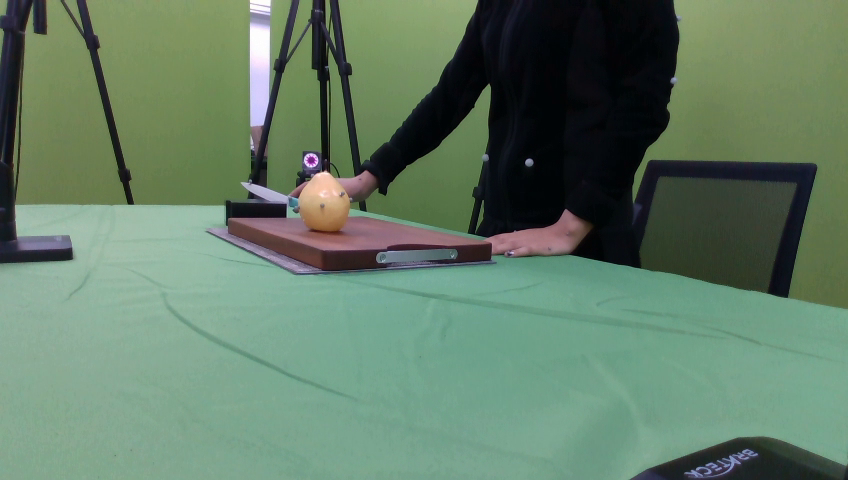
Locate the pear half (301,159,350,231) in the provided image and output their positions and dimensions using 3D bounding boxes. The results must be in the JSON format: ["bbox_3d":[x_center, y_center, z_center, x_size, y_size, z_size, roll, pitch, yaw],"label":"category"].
[{"bbox_3d":[-0.143,-0.068,0.917,0.055,0.110,0.077,8,12,34],"label":"pear half"}]

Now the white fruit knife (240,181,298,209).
[{"bbox_3d":[-0.269,-0.077,1.212,0.208,0.027,0.016,22,4,-28],"label":"white fruit knife"}]

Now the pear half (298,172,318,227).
[{"bbox_3d":[-0.172,-0.062,0.938,0.031,0.088,0.071,8,14,34],"label":"pear half"}]
